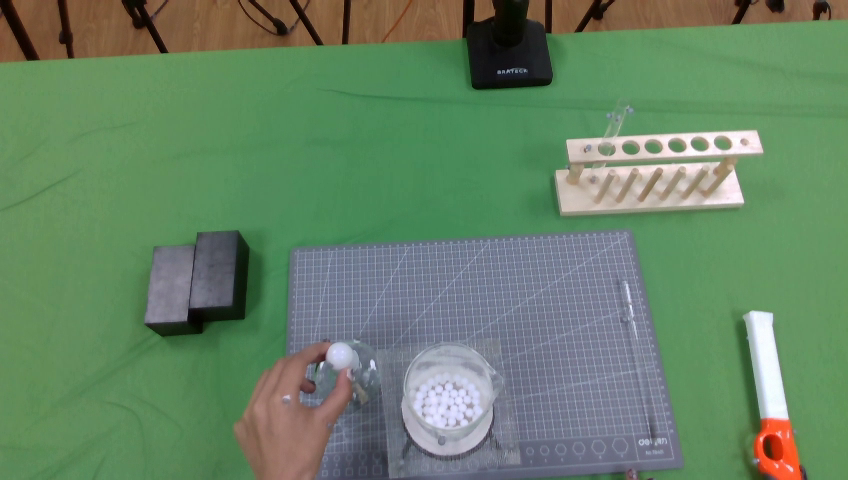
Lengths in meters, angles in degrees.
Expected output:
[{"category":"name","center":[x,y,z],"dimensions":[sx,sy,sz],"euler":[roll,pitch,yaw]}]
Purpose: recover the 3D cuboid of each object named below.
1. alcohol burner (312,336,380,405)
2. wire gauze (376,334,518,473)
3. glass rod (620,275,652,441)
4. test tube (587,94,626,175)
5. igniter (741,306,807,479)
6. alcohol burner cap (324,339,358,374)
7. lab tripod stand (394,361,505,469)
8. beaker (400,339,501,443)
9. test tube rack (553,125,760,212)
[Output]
[{"category":"alcohol burner","center":[-0.088,0.139,0.670],"dimensions":[0.078,0.120,0.077],"euler":[0,63,1]},{"category":"wire gauze","center":[0.020,0.153,0.579],"dimensions":[0.125,0.011,0.120],"euler":[-7,64,0]},{"category":"glass rod","center":[0.254,0.137,0.726],"dimensions":[0.008,0.008,0.198],"euler":[-2,68,-1]},{"category":"test tube","center":[0.225,-0.126,0.753],"dimensions":[0.017,0.151,0.017],"euler":[-1,62,2]},{"category":"igniter","center":[0.395,0.208,0.686],"dimensions":[0.057,0.025,0.274],"euler":[8,66,-7]},{"category":"alcohol burner cap","center":[-0.086,0.118,0.620],"dimensions":[0.034,0.048,0.033],"euler":[0,70,0]},{"category":"lab tripod stand","center":[0.021,0.184,0.638],"dimensions":[0.148,0.132,0.147],"euler":[-1,64,2]},{"category":"beaker","center":[0.023,0.136,0.534],"dimensions":[0.084,0.101,0.073],"euler":[-8,65,-3]},{"category":"test tube rack","center":[0.299,-0.092,0.790],"dimensions":[0.242,0.086,0.066],"euler":[-3,65,-1]}]
